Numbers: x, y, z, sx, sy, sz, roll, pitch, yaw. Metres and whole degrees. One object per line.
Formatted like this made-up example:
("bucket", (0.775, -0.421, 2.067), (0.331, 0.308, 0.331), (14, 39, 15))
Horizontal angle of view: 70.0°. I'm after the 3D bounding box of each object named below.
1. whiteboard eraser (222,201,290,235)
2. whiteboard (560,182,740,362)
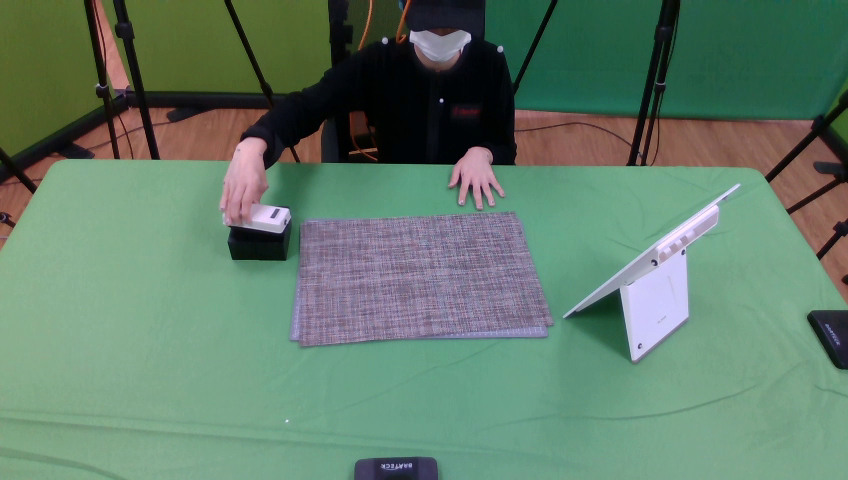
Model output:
("whiteboard eraser", (-0.312, -0.039, 1.127), (0.112, 0.042, 0.055), (9, 41, 4))
("whiteboard", (0.406, 0.075, 1.001), (0.217, 0.306, 0.143), (-28, 73, -28))
